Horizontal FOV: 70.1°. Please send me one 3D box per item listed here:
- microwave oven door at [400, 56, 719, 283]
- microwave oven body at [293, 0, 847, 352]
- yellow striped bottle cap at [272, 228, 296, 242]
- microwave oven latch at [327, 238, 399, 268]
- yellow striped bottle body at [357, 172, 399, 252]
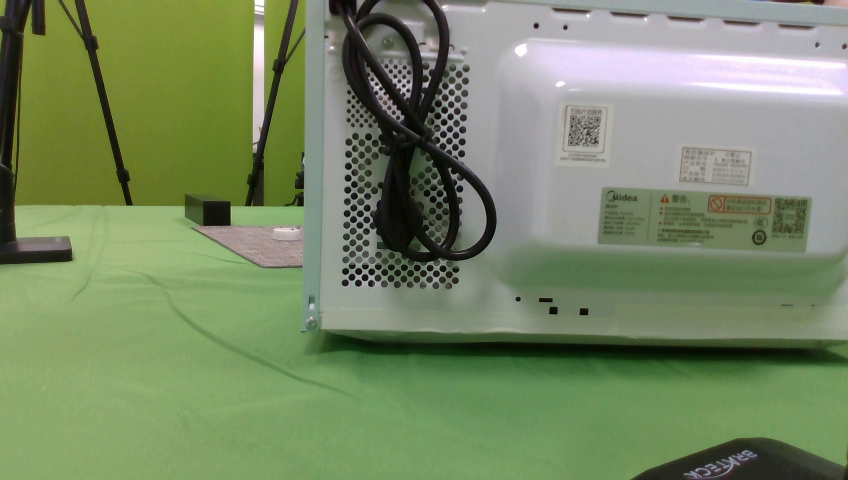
[{"bbox_3d":[0.155,-0.077,0.698,0.356,0.243,0.039,2,8,-5],"label":"microwave oven door"},{"bbox_3d":[0.122,-0.055,0.550,0.442,0.260,0.325,3,7,-5],"label":"microwave oven body"},{"bbox_3d":[-0.232,-0.008,1.011,0.044,0.018,0.044,4,9,0],"label":"yellow striped bottle cap"},{"bbox_3d":[-0.070,0.015,0.693,0.079,0.029,0.030,3,7,-2],"label":"microwave oven latch"},{"bbox_3d":[-0.070,-0.044,0.932,0.063,0.120,0.063,2,8,0],"label":"yellow striped bottle body"}]
